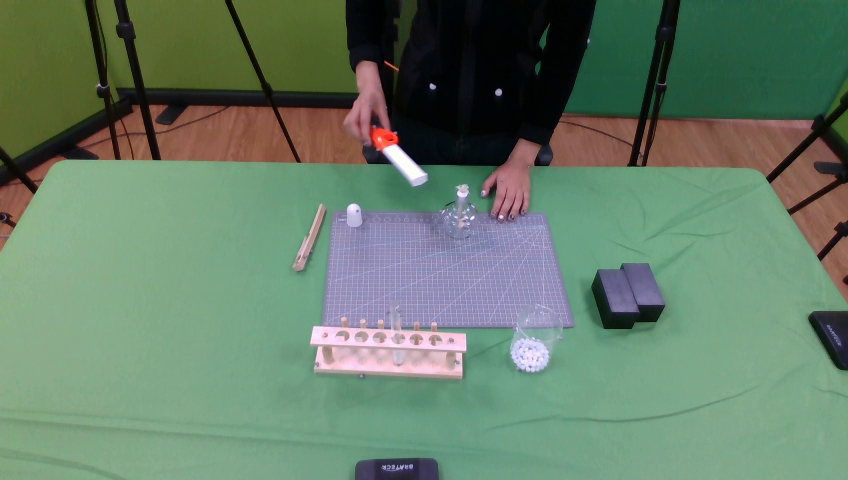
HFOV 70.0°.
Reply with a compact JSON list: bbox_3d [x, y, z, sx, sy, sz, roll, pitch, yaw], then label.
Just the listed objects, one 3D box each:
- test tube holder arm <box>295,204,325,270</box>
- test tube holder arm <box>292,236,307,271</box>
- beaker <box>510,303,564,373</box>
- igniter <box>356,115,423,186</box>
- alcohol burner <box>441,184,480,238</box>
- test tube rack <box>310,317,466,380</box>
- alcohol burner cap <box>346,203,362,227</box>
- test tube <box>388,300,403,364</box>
[{"bbox_3d":[-0.222,-0.009,1.192,0.013,0.015,0.177,-18,38,27],"label":"test tube holder arm"},{"bbox_3d":[-0.234,0.024,1.163,0.010,0.015,0.087,-17,38,28],"label":"test tube holder arm"},{"bbox_3d":[0.182,0.164,1.000,0.074,0.101,0.083,2,46,-1],"label":"beaker"},{"bbox_3d":[-0.076,-0.185,1.203,0.057,0.025,0.274,-21,43,-17],"label":"igniter"},{"bbox_3d":[0.073,-0.061,1.195,0.078,0.120,0.077,1,47,-1],"label":"alcohol burner"},{"bbox_3d":[-0.056,0.171,0.987,0.242,0.085,0.066,3,45,-1],"label":"test tube rack"},{"bbox_3d":[-0.141,-0.053,1.222,0.034,0.048,0.033,2,47,-2],"label":"alcohol burner cap"},{"bbox_3d":[-0.044,0.146,0.942,0.017,0.151,0.017,-1,44,1],"label":"test tube"}]
